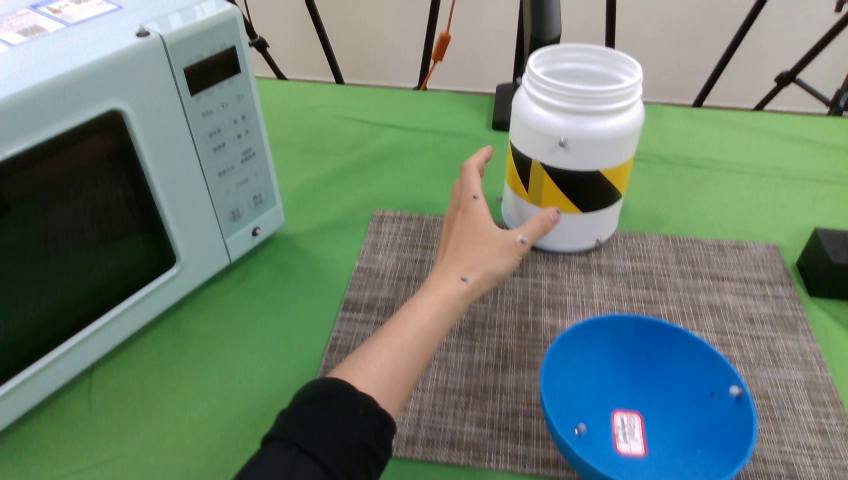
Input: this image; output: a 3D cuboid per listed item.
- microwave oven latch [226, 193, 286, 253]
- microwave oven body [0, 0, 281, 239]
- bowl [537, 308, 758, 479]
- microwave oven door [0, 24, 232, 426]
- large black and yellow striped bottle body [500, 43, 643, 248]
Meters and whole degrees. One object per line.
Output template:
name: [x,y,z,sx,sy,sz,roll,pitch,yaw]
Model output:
microwave oven latch: [-0.182,-0.022,0.637,0.030,0.030,0.079,28,50,26]
microwave oven body: [-0.406,-0.055,0.527,0.323,0.262,0.441,26,49,25]
bowl: [0.157,0.132,0.458,0.151,0.077,0.150,0,42,0]
microwave oven door: [-0.313,0.021,0.437,0.039,0.246,0.355,26,48,26]
large black and yellow striped bottle body: [0.152,-0.098,0.636,0.131,0.185,0.129,1,39,0]
